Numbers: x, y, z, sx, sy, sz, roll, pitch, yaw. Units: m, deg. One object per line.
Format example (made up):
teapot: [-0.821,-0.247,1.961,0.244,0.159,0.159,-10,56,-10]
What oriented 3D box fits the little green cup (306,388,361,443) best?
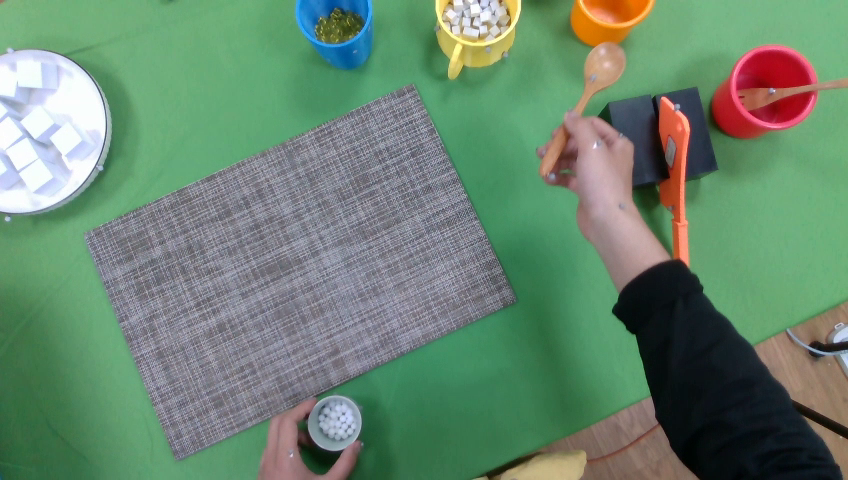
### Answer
little green cup: [-0.103,0.204,0.710,0.061,0.039,0.061,0,85,5]

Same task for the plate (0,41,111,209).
plate: [-0.485,-0.139,0.747,0.207,0.039,0.207,0,85,2]

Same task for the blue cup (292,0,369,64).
blue cup: [-0.102,-0.254,0.715,0.092,0.100,0.092,0,86,1]

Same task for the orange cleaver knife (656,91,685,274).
orange cleaver knife: [0.283,-0.063,0.699,0.012,0.076,0.213,-10,114,3]

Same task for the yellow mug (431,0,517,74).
yellow mug: [0.052,-0.261,0.730,0.100,0.064,0.130,23,87,3]

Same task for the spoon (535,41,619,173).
spoon: [0.153,-0.138,0.613,0.041,0.022,0.193,32,59,2]

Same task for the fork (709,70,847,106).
fork: [0.427,-0.175,0.673,0.206,0.019,0.028,-1,80,43]
